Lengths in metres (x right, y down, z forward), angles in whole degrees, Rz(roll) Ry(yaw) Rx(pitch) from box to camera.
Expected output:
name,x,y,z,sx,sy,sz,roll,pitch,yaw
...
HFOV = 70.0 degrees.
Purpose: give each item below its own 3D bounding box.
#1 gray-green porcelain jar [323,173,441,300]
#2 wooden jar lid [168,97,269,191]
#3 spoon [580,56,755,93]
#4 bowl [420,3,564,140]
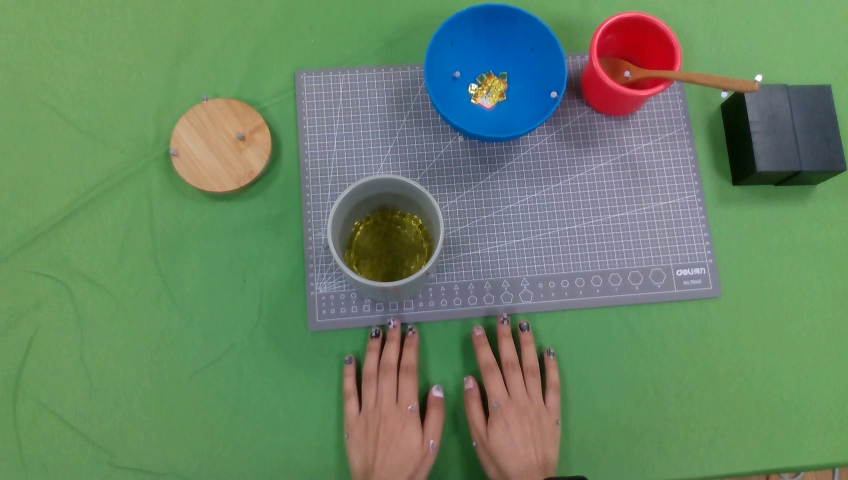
name,x,y,z,sx,sy,sz,roll,pitch,yaw
gray-green porcelain jar,-0.039,0.003,0.599,0.106,0.127,0.105,1,78,-2
wooden jar lid,-0.225,-0.104,0.670,0.108,0.021,0.108,0,78,-1
spoon,0.247,-0.171,0.637,0.022,0.192,0.041,40,80,-41
bowl,0.070,-0.170,0.663,0.151,0.077,0.150,1,78,-2
